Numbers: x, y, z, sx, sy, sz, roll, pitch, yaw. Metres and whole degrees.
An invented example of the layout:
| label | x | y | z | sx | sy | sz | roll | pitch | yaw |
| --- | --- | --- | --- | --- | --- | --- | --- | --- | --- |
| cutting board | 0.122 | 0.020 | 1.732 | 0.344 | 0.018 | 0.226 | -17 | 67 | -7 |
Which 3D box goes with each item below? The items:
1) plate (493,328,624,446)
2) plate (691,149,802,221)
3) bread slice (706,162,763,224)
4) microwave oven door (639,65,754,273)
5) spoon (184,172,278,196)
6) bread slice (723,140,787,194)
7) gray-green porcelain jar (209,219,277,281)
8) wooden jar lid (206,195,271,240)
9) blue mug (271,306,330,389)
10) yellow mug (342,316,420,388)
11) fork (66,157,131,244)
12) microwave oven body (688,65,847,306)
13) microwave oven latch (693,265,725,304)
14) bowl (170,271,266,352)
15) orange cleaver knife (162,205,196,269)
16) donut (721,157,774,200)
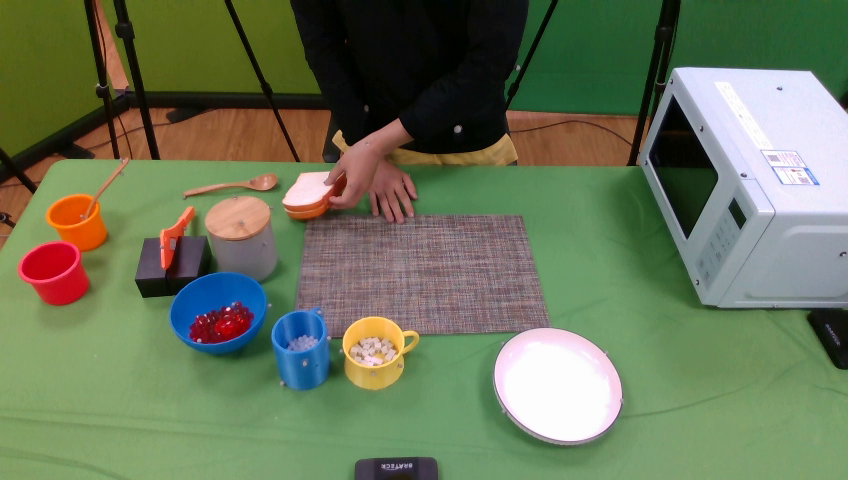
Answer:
| label | x | y | z | sx | sy | sz | roll | pitch | yaw |
| --- | --- | --- | --- | --- | --- | --- | --- | --- | --- |
| plate | 0.213 | 0.236 | 0.974 | 0.208 | 0.039 | 0.206 | 2 | 46 | -2 |
| plate | 0.652 | -0.108 | 1.238 | 0.209 | 0.038 | 0.208 | -1 | 46 | 1 |
| bread slice | 0.650 | -0.104 | 1.263 | 0.105 | 0.019 | 0.131 | 12 | 70 | 10 |
| microwave oven door | 0.522 | -0.147 | 1.193 | 0.039 | 0.245 | 0.353 | 0 | 47 | -3 |
| spoon | -0.405 | -0.116 | 1.275 | 0.194 | 0.022 | 0.041 | -8 | 66 | -12 |
| bread slice | 0.661 | -0.147 | 1.201 | 0.107 | 0.018 | 0.133 | 0 | 53 | 9 |
| gray-green porcelain jar | -0.323 | 0.007 | 1.092 | 0.106 | 0.127 | 0.105 | 2 | 46 | -2 |
| wooden jar lid | -0.319 | -0.036 | 1.046 | 0.108 | 0.021 | 0.107 | 1 | 44 | 0 |
| blue mug | -0.188 | 0.163 | 0.969 | 0.082 | 0.106 | 0.116 | 15 | 47 | 10 |
| yellow mug | -0.067 | 0.177 | 0.990 | 0.131 | 0.064 | 0.099 | -16 | 50 | -19 |
| fork | -0.608 | -0.074 | 1.132 | 0.207 | 0.019 | 0.028 | -52 | 48 | 10 |
| microwave oven body | 0.669 | -0.111 | 1.176 | 0.326 | 0.261 | 0.439 | 0 | 46 | -3 |
| microwave oven latch | 0.523 | 0.081 | 1.115 | 0.030 | 0.029 | 0.078 | 2 | 46 | -1 |
| bowl | -0.333 | 0.132 | 1.006 | 0.151 | 0.077 | 0.150 | 2 | 46 | -2 |
| orange cleaver knife | -0.454 | -0.010 | 1.129 | 0.012 | 0.077 | 0.210 | -1 | 20 | -5 |
| donut | 0.648 | -0.123 | 1.215 | 0.099 | 0.048 | 0.098 | -3 | 55 | 5 |
